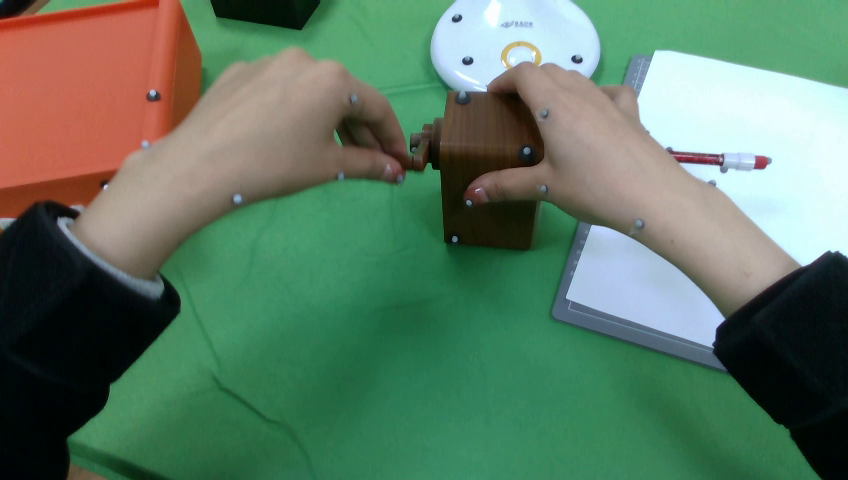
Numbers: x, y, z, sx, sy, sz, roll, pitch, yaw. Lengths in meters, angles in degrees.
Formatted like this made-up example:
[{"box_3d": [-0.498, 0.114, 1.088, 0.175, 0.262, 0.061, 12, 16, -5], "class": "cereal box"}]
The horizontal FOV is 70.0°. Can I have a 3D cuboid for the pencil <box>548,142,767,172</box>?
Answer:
[{"box_3d": [0.128, -0.058, 0.405, 0.194, 0.012, 0.012, 5, 55, 4], "class": "pencil"}]

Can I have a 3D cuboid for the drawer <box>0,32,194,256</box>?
[{"box_3d": [-0.294, -0.095, 0.502, 0.194, 0.074, 0.209, -10, 54, -3], "class": "drawer"}]

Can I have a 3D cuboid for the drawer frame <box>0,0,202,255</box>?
[{"box_3d": [-0.297, -0.097, 0.502, 0.202, 0.083, 0.211, -11, 54, -4], "class": "drawer frame"}]

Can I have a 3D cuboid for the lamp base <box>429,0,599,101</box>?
[{"box_3d": [0.078, -0.240, 0.523, 0.161, 0.182, 0.177, -10, 52, -4], "class": "lamp base"}]

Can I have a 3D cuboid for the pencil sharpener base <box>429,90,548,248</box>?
[{"box_3d": [0.045, -0.048, 0.434, 0.076, 0.108, 0.061, 3, 55, 6], "class": "pencil sharpener base"}]

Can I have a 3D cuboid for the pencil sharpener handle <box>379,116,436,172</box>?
[{"box_3d": [-0.009, -0.061, 0.403, 0.030, 0.036, 0.067, 4, 25, 7], "class": "pencil sharpener handle"}]
